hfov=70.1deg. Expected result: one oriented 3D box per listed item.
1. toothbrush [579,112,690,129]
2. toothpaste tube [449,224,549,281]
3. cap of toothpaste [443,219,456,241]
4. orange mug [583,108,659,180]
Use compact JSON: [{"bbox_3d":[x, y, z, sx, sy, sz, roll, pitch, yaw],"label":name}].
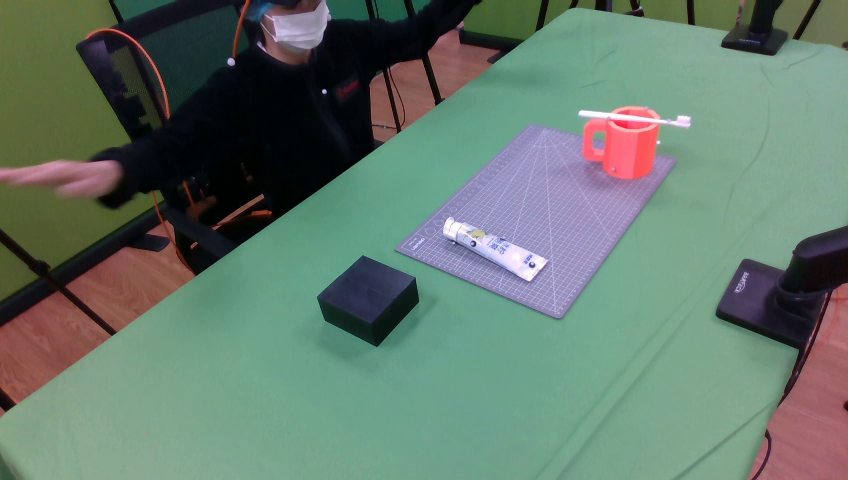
[{"bbox_3d":[0.352,-0.205,1.019,0.181,0.017,0.014,10,47,21],"label":"toothbrush"},{"bbox_3d":[0.107,0.015,0.934,0.164,0.035,0.055,25,55,28],"label":"toothpaste tube"},{"bbox_3d":[0.044,-0.017,0.972,0.011,0.037,0.037,15,45,26],"label":"cap of toothpaste"},{"bbox_3d":[0.343,-0.171,1.061,0.126,0.101,0.083,10,43,15],"label":"orange mug"}]
